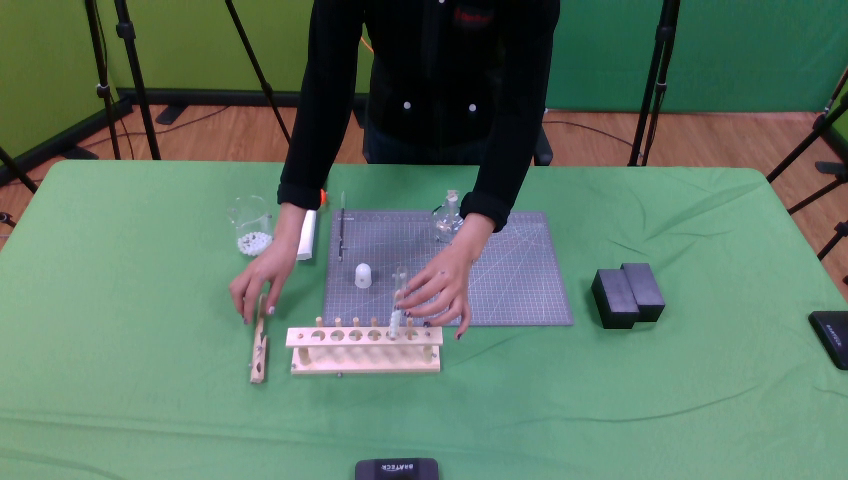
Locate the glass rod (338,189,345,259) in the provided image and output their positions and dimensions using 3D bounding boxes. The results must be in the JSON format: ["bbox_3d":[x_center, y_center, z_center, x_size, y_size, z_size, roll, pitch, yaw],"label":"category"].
[{"bbox_3d":[-0.166,-0.036,1.227,0.008,0.008,0.198,-1,46,-4],"label":"glass rod"}]

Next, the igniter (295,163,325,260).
[{"bbox_3d":[-0.233,-0.068,1.242,0.057,0.025,0.274,-7,46,4],"label":"igniter"}]

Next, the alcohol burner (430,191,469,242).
[{"bbox_3d":[0.052,-0.053,1.185,0.078,0.119,0.077,2,48,-2],"label":"alcohol burner"}]

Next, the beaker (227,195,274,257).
[{"bbox_3d":[-0.326,-0.022,1.142,0.074,0.101,0.083,10,47,6],"label":"beaker"}]

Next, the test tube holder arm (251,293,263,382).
[{"bbox_3d":[-0.282,0.159,1.025,0.013,0.015,0.177,24,36,-33],"label":"test tube holder arm"}]

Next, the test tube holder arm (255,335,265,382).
[{"bbox_3d":[-0.270,0.193,0.997,0.010,0.015,0.087,25,35,-32],"label":"test tube holder arm"}]

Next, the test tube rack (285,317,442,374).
[{"bbox_3d":[-0.095,0.166,0.988,0.242,0.085,0.066,0,46,-4],"label":"test tube rack"}]

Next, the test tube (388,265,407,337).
[{"bbox_3d":[-0.040,0.094,0.897,0.017,0.151,0.017,5,42,-5],"label":"test tube"}]

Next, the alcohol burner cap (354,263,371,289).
[{"bbox_3d":[-0.113,0.063,1.112,0.034,0.048,0.033,2,45,-2],"label":"alcohol burner cap"}]
